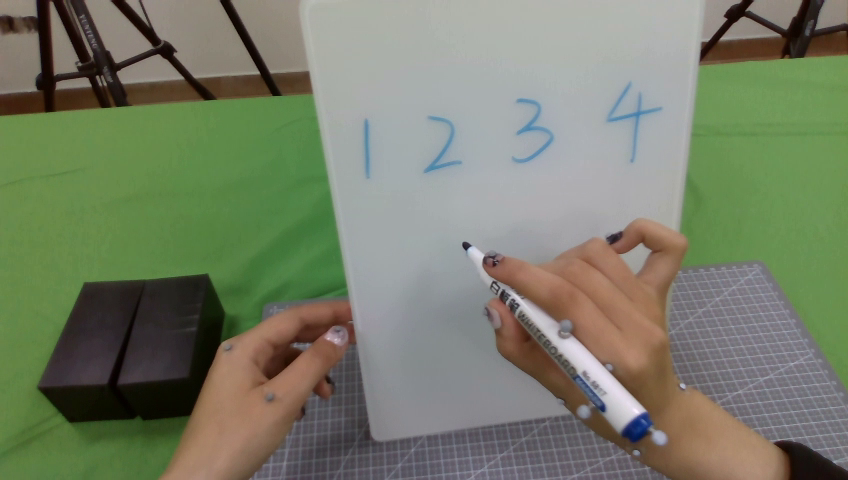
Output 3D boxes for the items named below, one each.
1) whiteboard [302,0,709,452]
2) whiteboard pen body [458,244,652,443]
[{"bbox_3d":[0.051,-0.027,0.436,0.217,0.307,0.142,-6,26,-3],"label":"whiteboard"},{"bbox_3d":[0.057,0.044,0.305,0.017,0.017,0.139,-25,50,-21],"label":"whiteboard pen body"}]
